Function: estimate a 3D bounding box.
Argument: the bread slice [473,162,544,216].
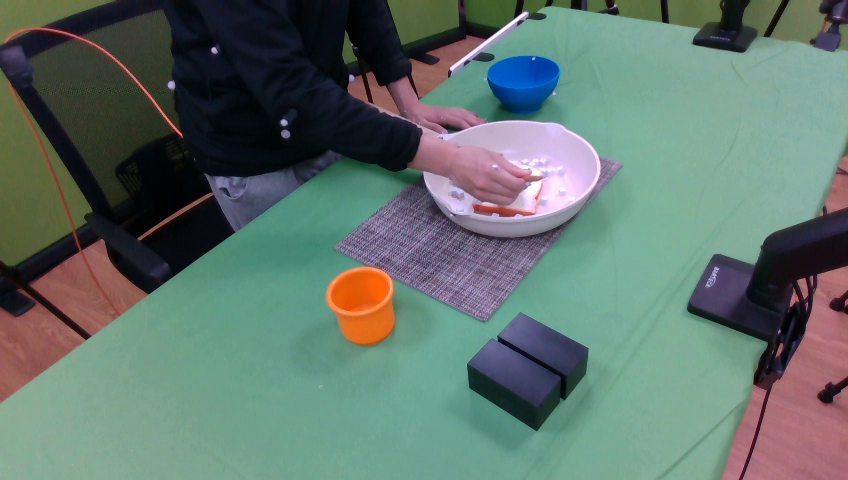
[{"bbox_3d":[0.150,-0.088,1.042,0.106,0.018,0.134,7,45,16],"label":"bread slice"}]

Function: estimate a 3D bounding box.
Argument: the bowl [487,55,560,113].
[{"bbox_3d":[0.207,-0.319,1.266,0.151,0.077,0.150,-4,41,4],"label":"bowl"}]

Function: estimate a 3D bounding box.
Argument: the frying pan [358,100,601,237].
[{"bbox_3d":[0.067,-0.153,1.067,0.484,0.103,0.308,32,52,26],"label":"frying pan"}]

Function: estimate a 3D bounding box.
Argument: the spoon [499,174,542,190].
[{"bbox_3d":[0.151,-0.093,0.936,0.042,0.021,0.193,-12,1,-3],"label":"spoon"}]
